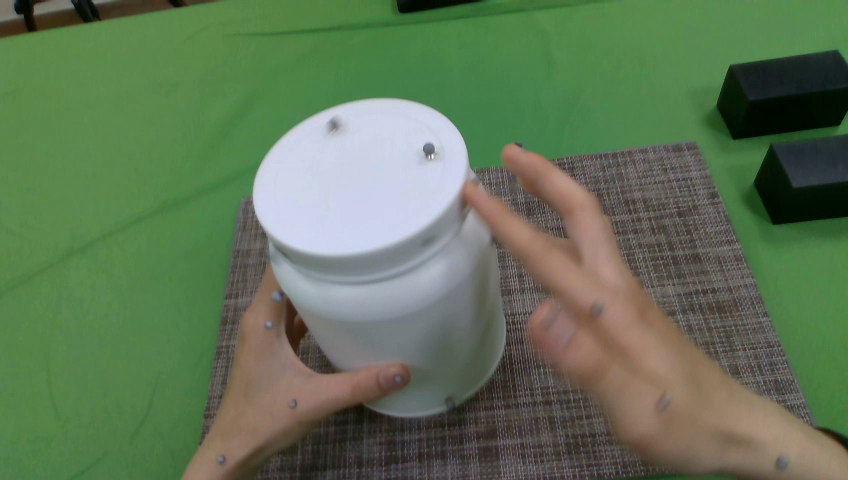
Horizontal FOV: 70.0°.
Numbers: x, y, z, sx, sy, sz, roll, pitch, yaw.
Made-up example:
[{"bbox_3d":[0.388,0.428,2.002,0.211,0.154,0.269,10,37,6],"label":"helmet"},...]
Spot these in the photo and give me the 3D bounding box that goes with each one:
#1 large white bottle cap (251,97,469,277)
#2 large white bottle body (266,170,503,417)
[{"bbox_3d":[-0.034,-0.032,0.318,0.115,0.018,0.113,-5,52,7],"label":"large white bottle cap"},{"bbox_3d":[-0.020,0.019,0.386,0.130,0.186,0.129,-6,52,7],"label":"large white bottle body"}]
